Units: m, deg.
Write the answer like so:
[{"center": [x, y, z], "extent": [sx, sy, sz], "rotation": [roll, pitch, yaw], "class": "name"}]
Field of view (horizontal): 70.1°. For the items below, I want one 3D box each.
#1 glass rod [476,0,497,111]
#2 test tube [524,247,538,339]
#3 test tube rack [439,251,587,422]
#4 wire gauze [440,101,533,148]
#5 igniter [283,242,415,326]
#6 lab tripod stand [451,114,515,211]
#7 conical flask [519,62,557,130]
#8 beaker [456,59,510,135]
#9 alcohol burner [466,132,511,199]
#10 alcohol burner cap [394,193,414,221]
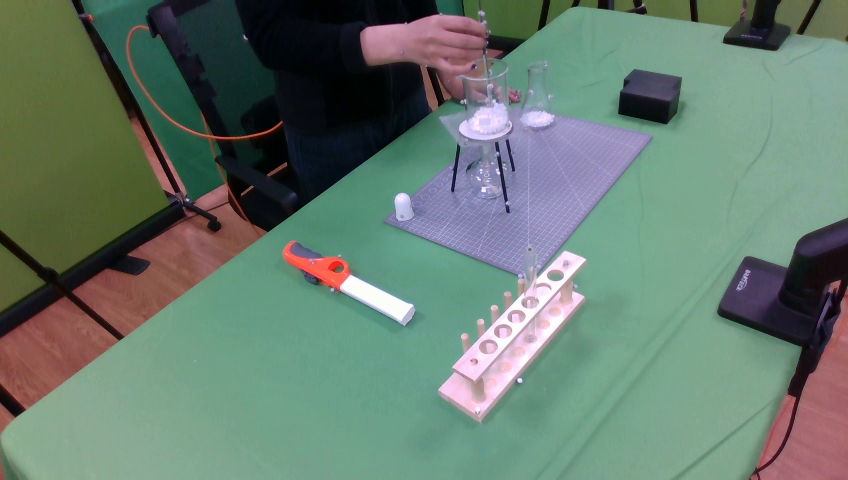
[{"center": [0.099, -0.285, 0.941], "extent": [0.008, 0.201, 0.008], "rotation": [-8, 44, 9], "class": "glass rod"}, {"center": [0.133, 0.070, 0.749], "extent": [0.017, 0.151, 0.017], "rotation": [-5, 38, 4], "class": "test tube"}, {"center": [0.118, 0.111, 0.780], "extent": [0.066, 0.085, 0.243], "rotation": [26, 51, 35], "class": "test tube rack"}, {"center": [0.100, -0.189, 0.995], "extent": [0.125, 0.011, 0.120], "rotation": [-16, 37, -6], "class": "wire gauze"}, {"center": [-0.126, 0.062, 0.931], "extent": [0.274, 0.025, 0.057], "rotation": [24, 61, 33], "class": "igniter"}, {"center": [0.113, -0.140, 1.037], "extent": [0.148, 0.132, 0.147], "rotation": [-6, 38, 5], "class": "lab tripod stand"}, {"center": [0.225, -0.287, 1.199], "extent": [0.075, 0.122, 0.075], "rotation": [-6, 40, 5], "class": "conical flask"}, {"center": [0.098, -0.226, 0.964], "extent": [0.084, 0.101, 0.073], "rotation": [-7, 39, 4], "class": "beaker"}, {"center": [0.110, -0.132, 1.044], "extent": [0.078, 0.119, 0.077], "rotation": [-6, 38, 5], "class": "alcohol burner"}, {"center": [-0.036, -0.059, 1.040], "extent": [0.034, 0.048, 0.033], "rotation": [-5, 41, 5], "class": "alcohol burner cap"}]
